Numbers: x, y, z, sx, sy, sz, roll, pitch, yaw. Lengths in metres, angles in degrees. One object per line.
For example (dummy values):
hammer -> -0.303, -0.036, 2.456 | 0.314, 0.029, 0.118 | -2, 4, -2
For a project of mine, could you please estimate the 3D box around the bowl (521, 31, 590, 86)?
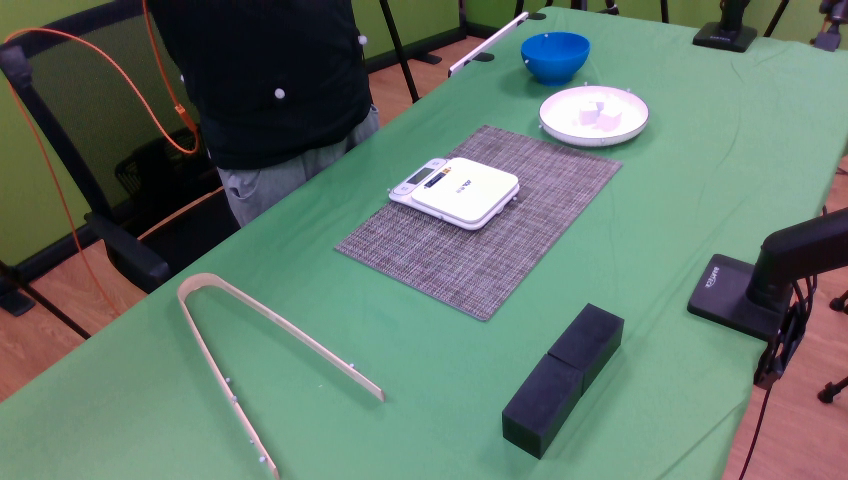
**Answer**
bowl -> 0.289, -0.395, 1.341 | 0.151, 0.077, 0.150 | -4, 41, 4

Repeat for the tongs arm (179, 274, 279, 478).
tongs arm -> -0.260, 0.161, 0.807 | 0.051, 0.026, 0.381 | -28, 44, -25

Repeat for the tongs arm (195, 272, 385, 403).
tongs arm -> -0.199, 0.126, 0.848 | 0.384, 0.028, 0.028 | 26, 52, 32

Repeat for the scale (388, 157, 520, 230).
scale -> 0.050, -0.090, 1.052 | 0.199, 0.032, 0.149 | 24, 49, 31

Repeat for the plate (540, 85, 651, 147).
plate -> 0.333, -0.238, 1.185 | 0.207, 0.039, 0.206 | -4, 41, 4
